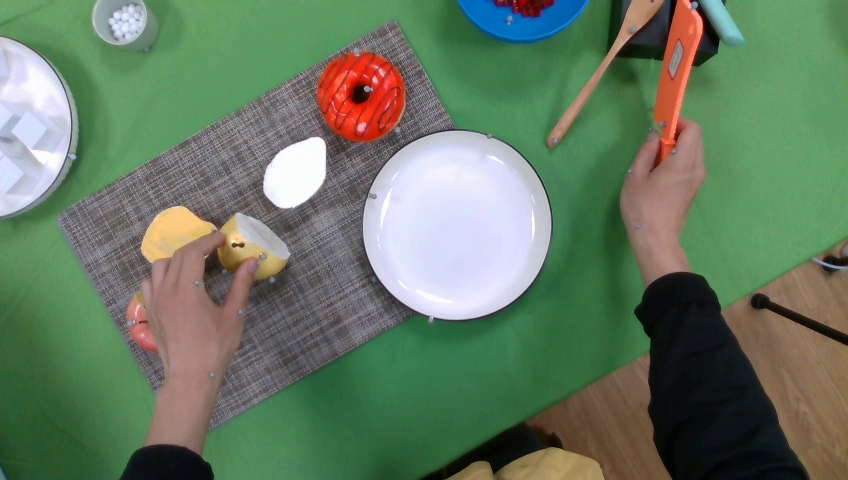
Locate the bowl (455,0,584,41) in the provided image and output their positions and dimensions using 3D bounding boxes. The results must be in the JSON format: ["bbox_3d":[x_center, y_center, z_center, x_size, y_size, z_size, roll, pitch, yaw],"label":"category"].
[{"bbox_3d":[0.098,-0.278,0.643,0.151,0.077,0.151,0,92,2],"label":"bowl"}]

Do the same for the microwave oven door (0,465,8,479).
[{"bbox_3d":[-0.498,0.269,0.573,0.039,0.244,0.355,-27,90,2],"label":"microwave oven door"}]

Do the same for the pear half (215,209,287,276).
[{"bbox_3d":[-0.191,0.010,0.637,0.076,0.110,0.056,39,93,3],"label":"pear half"}]

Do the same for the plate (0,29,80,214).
[{"bbox_3d":[-0.487,-0.130,0.684,0.207,0.039,0.207,0,91,2],"label":"plate"}]

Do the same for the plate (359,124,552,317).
[{"bbox_3d":[0.034,-0.021,0.666,0.209,0.038,0.209,0,91,2],"label":"plate"}]

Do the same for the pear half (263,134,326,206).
[{"bbox_3d":[-0.138,-0.076,0.673,0.070,0.031,0.088,35,83,13],"label":"pear half"}]

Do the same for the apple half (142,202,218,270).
[{"bbox_3d":[-0.270,0.001,0.675,0.081,0.033,0.080,3,67,-6],"label":"apple half"}]

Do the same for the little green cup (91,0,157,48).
[{"bbox_3d":[-0.332,-0.246,0.676,0.061,0.038,0.061,0,91,2],"label":"little green cup"}]

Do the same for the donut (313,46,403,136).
[{"bbox_3d":[-0.072,-0.163,0.663,0.099,0.048,0.099,0,93,4],"label":"donut"}]

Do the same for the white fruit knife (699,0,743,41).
[{"bbox_3d":[0.268,-0.294,0.619,0.027,0.016,0.207,-27,88,-27],"label":"white fruit knife"}]

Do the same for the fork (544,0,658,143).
[{"bbox_3d":[0.188,-0.190,0.637,0.028,0.018,0.208,29,112,-6],"label":"fork"}]

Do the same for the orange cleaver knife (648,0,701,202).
[{"bbox_3d":[0.252,-0.143,0.630,0.012,0.076,0.213,0,121,1],"label":"orange cleaver knife"}]

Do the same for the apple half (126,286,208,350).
[{"bbox_3d":[-0.283,0.090,0.660,0.081,0.074,0.053,25,96,-2],"label":"apple half"}]
